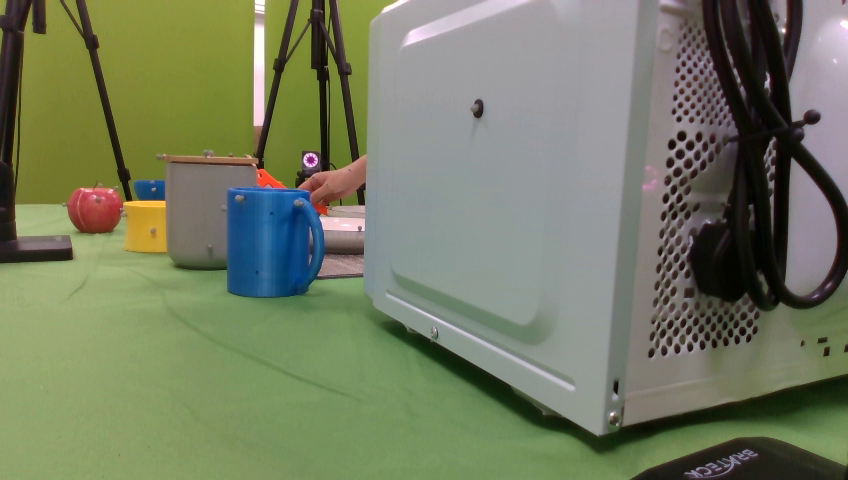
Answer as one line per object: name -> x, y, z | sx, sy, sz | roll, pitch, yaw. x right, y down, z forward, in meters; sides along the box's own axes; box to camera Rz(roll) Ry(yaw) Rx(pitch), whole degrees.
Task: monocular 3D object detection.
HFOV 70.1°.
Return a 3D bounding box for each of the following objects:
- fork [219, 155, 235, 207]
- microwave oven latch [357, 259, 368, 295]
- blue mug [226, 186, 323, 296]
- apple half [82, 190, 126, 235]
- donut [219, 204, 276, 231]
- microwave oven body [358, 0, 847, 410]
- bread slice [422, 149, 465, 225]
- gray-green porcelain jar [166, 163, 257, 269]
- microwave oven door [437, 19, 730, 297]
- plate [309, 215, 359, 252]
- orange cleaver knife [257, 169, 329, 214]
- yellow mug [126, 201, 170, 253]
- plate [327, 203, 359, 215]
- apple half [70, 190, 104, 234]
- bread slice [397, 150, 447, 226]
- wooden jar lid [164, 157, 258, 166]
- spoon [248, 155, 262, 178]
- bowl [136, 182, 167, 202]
fork -> -0.459, -0.134, 1.415 | 0.028, 0.018, 0.207 | -1, -34, -24
microwave oven latch -> -0.019, 0.031, 0.529 | 0.079, 0.029, 0.030 | -1, 7, -26
blue mug -> -0.148, 0.000, 0.618 | 0.116, 0.106, 0.083 | 7, 9, 33
apple half -> -0.516, -0.046, 0.994 | 0.032, 0.081, 0.081 | 0, 6, 26
donut -> -0.316, -0.039, 1.083 | 0.099, 0.048, 0.099 | 2, 6, 0
microwave oven body -> 0.210, -0.051, 0.471 | 0.444, 0.260, 0.324 | -1, 7, -28
bread slice -> 0.034, -0.094, 1.068 | 0.019, 0.131, 0.105 | -1, 8, 38
gray-green porcelain jar -> -0.263, -0.031, 0.754 | 0.106, 0.126, 0.106 | 2, 7, 0
microwave oven door -> 0.181, -0.076, 0.618 | 0.358, 0.243, 0.039 | -2, 9, -28
plate -> -0.130, -0.011, 0.945 | 0.208, 0.039, 0.207 | 2, 7, 0
orange cleaver knife -> -0.285, -0.082, 1.300 | 0.212, 0.077, 0.012 | 25, -4, -30
yellow mug -> -0.361, -0.019, 0.866 | 0.130, 0.064, 0.100 | 6, 9, 27
plate -> -0.102, -0.053, 1.299 | 0.209, 0.038, 0.209 | 2, 8, 0
apple half -> -0.552, -0.047, 1.009 | 0.053, 0.074, 0.081 | 0, 9, 26
bread slice -> -0.004, -0.098, 1.107 | 0.018, 0.134, 0.107 | -7, 3, 40
wooden jar lid -> -0.261, -0.093, 0.746 | 0.108, 0.020, 0.108 | 0, 9, 0
spoon -> -0.417, -0.150, 1.543 | 0.042, 0.193, 0.021 | -6, -34, -32
bowl -> -0.497, -0.076, 1.221 | 0.151, 0.077, 0.151 | 2, 8, 0
